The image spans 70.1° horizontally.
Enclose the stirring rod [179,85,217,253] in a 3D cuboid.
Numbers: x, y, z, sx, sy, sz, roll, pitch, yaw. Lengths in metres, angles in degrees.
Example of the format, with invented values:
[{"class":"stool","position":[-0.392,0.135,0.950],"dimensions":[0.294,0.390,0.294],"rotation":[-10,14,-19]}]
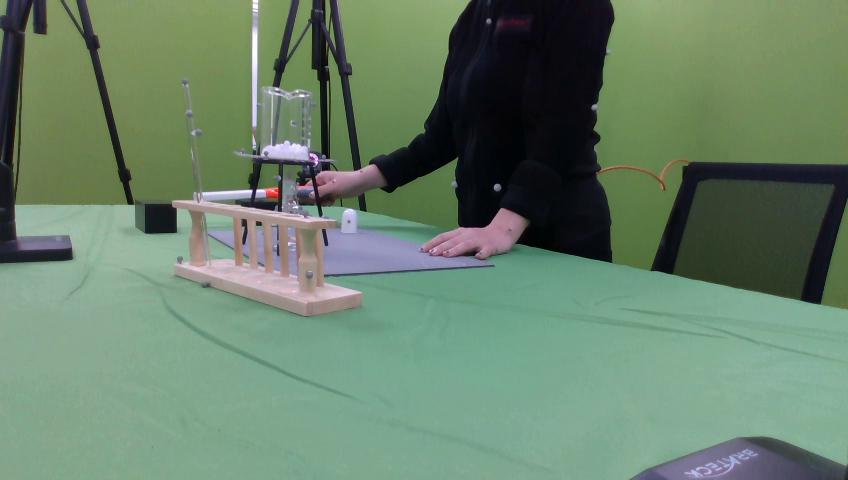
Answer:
[{"class":"stirring rod","position":[-0.236,-0.073,0.634],"dimensions":[0.006,0.176,0.014],"rotation":[1,10,43]}]

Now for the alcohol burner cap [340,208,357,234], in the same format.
[{"class":"alcohol burner cap","position":[-0.142,-0.036,1.136],"dimensions":[0.034,0.048,0.034],"rotation":[1,6,0]}]

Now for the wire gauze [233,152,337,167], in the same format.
[{"class":"wire gauze","position":[-0.205,-0.119,0.887],"dimensions":[0.122,0.011,0.124],"rotation":[2,4,-32]}]

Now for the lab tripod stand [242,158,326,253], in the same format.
[{"class":"lab tripod stand","position":[-0.207,-0.054,0.895],"dimensions":[0.148,0.131,0.148],"rotation":[3,5,0]}]

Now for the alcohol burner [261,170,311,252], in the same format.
[{"class":"alcohol burner","position":[-0.201,-0.043,0.891],"dimensions":[0.078,0.119,0.078],"rotation":[1,6,0]}]

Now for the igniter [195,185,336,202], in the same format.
[{"class":"igniter","position":[-0.310,-0.092,1.209],"dimensions":[0.278,0.025,0.057],"rotation":[-6,14,-32]}]

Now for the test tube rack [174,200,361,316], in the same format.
[{"class":"test tube rack","position":[-0.169,0.010,0.622],"dimensions":[0.241,0.085,0.067],"rotation":[9,9,41]}]

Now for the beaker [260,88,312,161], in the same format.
[{"class":"beaker","position":[-0.201,-0.166,0.876],"dimensions":[0.074,0.100,0.083],"rotation":[1,7,-18]}]
